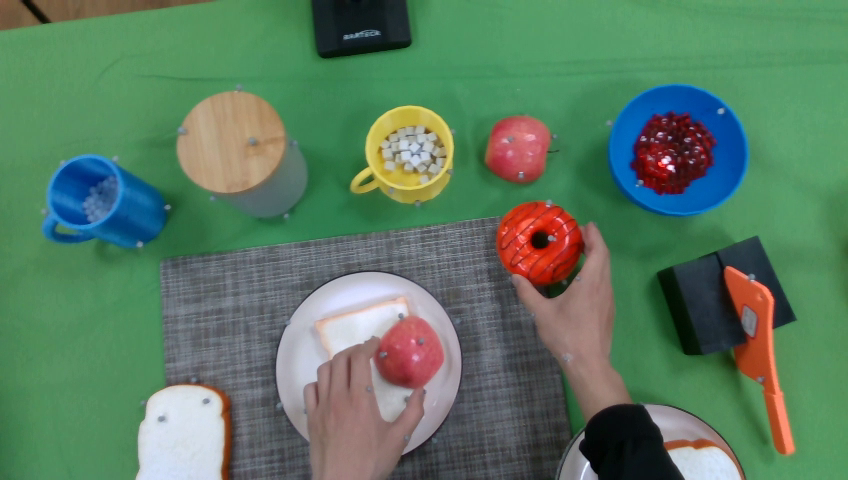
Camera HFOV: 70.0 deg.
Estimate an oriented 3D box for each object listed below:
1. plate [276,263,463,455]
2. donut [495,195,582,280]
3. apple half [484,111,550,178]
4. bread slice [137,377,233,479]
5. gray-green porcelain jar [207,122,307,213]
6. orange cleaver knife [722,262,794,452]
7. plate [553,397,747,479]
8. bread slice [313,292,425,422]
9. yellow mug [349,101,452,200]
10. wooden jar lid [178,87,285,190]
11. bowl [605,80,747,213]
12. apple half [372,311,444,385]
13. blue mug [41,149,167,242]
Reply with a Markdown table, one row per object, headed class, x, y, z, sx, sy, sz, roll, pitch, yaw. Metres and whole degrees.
| class | x | y | z | sx | sy | sz | roll | pitch | yaw |
| --- | --- | --- | --- | --- | --- | --- | --- | --- | --- |
| plate | -0.060 | 0.131 | 0.680 | 0.207 | 0.039 | 0.207 | 0 | 80 | 1 |
| donut | 0.129 | -0.003 | 0.689 | 0.099 | 0.048 | 0.098 | 0 | 80 | 1 |
| apple half | 0.110 | -0.118 | 0.715 | 0.074 | 0.053 | 0.080 | 15 | 81 | 6 |
| bread slice | -0.269 | 0.220 | 0.680 | 0.105 | 0.019 | 0.131 | 0 | 82 | 0 |
| gray-green porcelain jar | -0.192 | -0.090 | 0.679 | 0.106 | 0.127 | 0.105 | 0 | 80 | 1 |
| orange cleaver knife | 0.359 | 0.126 | 0.655 | 0.012 | 0.077 | 0.212 | -18 | 102 | -9 |
| plate | 0.241 | 0.274 | 0.654 | 0.209 | 0.038 | 0.208 | 0 | 80 | 1 |
| bread slice | -0.054 | 0.134 | 0.680 | 0.107 | 0.018 | 0.134 | -18 | 81 | -2 |
| yellow mug | -0.031 | -0.095 | 0.707 | 0.131 | 0.064 | 0.099 | -31 | 81 | -3 |
| wooden jar lid | -0.194 | -0.102 | 0.617 | 0.108 | 0.021 | 0.108 | 0 | 79 | 2 |
| bowl | 0.276 | -0.097 | 0.695 | 0.151 | 0.077 | 0.151 | 0 | 81 | 1 |
| apple half | -0.015 | 0.119 | 0.660 | 0.081 | 0.033 | 0.081 | 0 | 79 | 0 |
| blue mug | -0.367 | -0.038 | 0.683 | 0.116 | 0.106 | 0.082 | -33 | 81 | -4 |
